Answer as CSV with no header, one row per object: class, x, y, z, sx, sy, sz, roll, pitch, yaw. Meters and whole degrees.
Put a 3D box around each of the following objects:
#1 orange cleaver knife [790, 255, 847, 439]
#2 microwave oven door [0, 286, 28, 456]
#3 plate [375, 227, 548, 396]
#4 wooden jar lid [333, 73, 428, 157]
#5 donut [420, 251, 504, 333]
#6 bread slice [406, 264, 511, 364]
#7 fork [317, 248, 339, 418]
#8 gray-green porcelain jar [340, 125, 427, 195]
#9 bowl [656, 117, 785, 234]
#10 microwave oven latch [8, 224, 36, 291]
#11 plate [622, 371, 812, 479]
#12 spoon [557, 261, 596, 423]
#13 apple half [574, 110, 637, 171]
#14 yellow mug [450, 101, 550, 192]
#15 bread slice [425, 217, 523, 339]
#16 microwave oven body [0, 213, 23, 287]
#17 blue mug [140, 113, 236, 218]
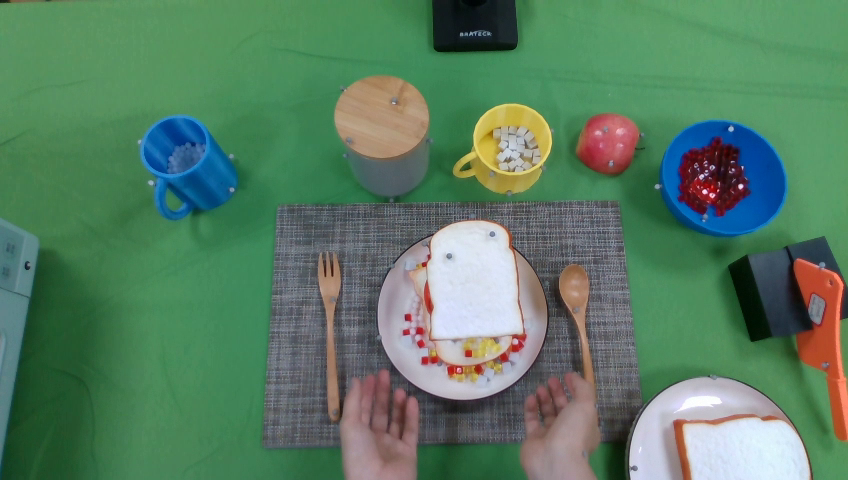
orange cleaver knife,0.461,0.123,0.706,0.012,0.077,0.211,-11,95,-10
microwave oven door,-0.500,0.201,0.581,0.039,0.245,0.353,-1,73,0
plate,0.044,0.084,0.736,0.208,0.039,0.206,0,73,0
wooden jar lid,-0.050,-0.141,0.695,0.108,0.021,0.107,1,71,-2
donut,0.045,0.061,0.714,0.099,0.048,0.098,0,74,0
bread slice,0.049,0.082,0.737,0.107,0.018,0.133,-18,76,-4
fork,-0.115,0.110,0.739,0.028,0.019,0.206,-4,72,-4
gray-green porcelain jar,-0.048,-0.122,0.756,0.106,0.127,0.105,0,73,0
bowl,0.359,-0.070,0.765,0.151,0.077,0.150,0,74,1
microwave oven latch,-0.498,0.021,0.739,0.030,0.029,0.078,2,74,0
plate,0.327,0.255,0.689,0.209,0.038,0.208,0,73,0
spoon,0.189,0.121,0.733,0.042,0.021,0.192,2,72,-22
apple half,0.242,-0.137,0.799,0.074,0.053,0.080,20,75,9
yellow mug,0.095,-0.115,0.785,0.131,0.064,0.099,-23,74,-6
bread slice,0.050,0.041,0.656,0.105,0.019,0.131,-5,87,5
microwave oven body,-0.646,0.163,0.597,0.326,0.261,0.439,-1,74,0
blue mug,-0.297,-0.083,0.754,0.082,0.106,0.116,19,74,6
